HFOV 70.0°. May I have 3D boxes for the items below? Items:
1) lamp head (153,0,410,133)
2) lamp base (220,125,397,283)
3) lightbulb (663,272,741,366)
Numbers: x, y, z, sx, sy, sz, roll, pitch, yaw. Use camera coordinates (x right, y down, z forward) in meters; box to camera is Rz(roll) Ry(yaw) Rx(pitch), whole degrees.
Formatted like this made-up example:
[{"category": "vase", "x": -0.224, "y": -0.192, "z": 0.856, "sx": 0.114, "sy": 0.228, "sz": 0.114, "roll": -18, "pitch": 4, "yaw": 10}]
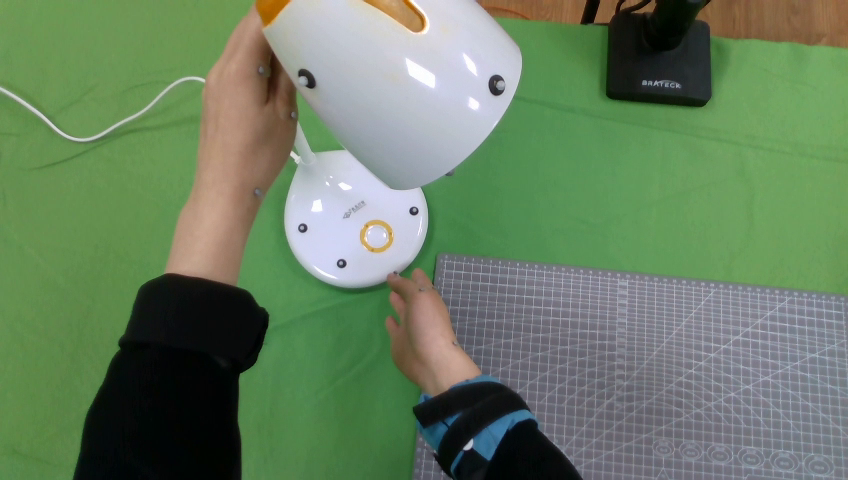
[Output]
[{"category": "lamp head", "x": -0.088, "y": -0.133, "z": 0.334, "sx": 0.124, "sy": 0.112, "sz": 0.112, "roll": 22, "pitch": 74, "yaw": -30}, {"category": "lamp base", "x": -0.125, "y": -0.052, "z": 0.614, "sx": 0.179, "sy": 0.181, "sz": 0.160, "roll": 15, "pitch": 76, "yaw": 8}, {"category": "lightbulb", "x": 0.284, "y": 0.080, "z": 0.633, "sx": 0.059, "sy": 0.060, "sz": 0.106, "roll": -19, "pitch": 60, "yaw": -3}]
